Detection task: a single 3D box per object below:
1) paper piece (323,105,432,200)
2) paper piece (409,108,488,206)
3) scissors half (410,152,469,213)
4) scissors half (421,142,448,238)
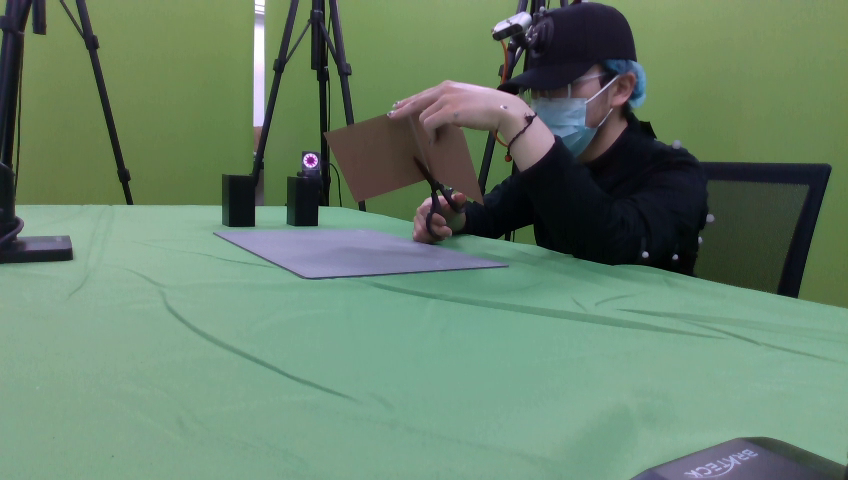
[{"bbox_3d":[-0.071,-0.135,0.958,0.135,0.136,0.004,-17,35,6],"label":"paper piece"},{"bbox_3d":[0.036,-0.125,0.901,0.008,0.136,0.137,-40,43,-17],"label":"paper piece"},{"bbox_3d":[0.027,-0.098,1.013,0.013,0.040,0.176,11,-18,42],"label":"scissors half"},{"bbox_3d":[0.013,-0.081,1.003,0.040,0.175,0.012,-30,31,-36],"label":"scissors half"}]
